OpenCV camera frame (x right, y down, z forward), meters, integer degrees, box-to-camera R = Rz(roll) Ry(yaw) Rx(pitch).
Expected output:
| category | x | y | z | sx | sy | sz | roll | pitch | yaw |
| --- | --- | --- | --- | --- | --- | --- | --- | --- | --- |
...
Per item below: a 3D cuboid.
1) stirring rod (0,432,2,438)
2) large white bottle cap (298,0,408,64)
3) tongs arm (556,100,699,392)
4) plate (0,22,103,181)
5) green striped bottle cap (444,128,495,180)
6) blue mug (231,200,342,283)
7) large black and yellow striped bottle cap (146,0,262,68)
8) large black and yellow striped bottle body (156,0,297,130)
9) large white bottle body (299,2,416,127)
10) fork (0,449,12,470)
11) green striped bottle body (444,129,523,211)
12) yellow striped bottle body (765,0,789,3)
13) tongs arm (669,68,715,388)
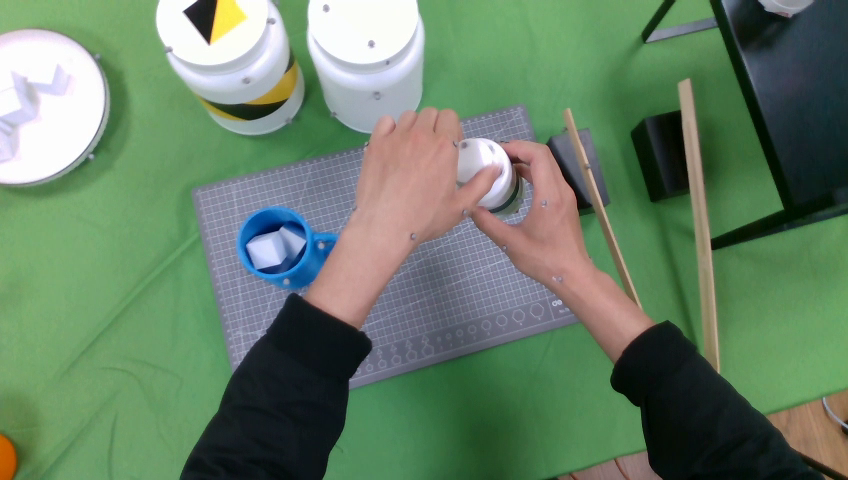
| category | x | y | z | sx | sy | sz | roll | pitch | yaw |
| --- | --- | --- | --- | --- | --- | --- | --- | --- | --- |
| stirring rod | -0.531 | 0.273 | 0.648 | 0.014 | 0.006 | 0.175 | 31 | 38 | 0 |
| large white bottle cap | -0.074 | -0.242 | 0.636 | 0.115 | 0.018 | 0.114 | 0 | 80 | -2 |
| tongs arm | 0.246 | 0.008 | 0.732 | 0.051 | 0.026 | 0.385 | -20 | 94 | -8 |
| plate | -0.511 | -0.173 | 0.771 | 0.208 | 0.039 | 0.207 | 0 | 81 | -2 |
| green striped bottle cap | 0.041 | -0.077 | 0.543 | 0.044 | 0.020 | 0.044 | -4 | 78 | 19 |
| blue mug | -0.156 | 0.002 | 0.718 | 0.116 | 0.106 | 0.082 | -9 | 80 | -3 |
| large black and yellow striped bottle cap | -0.229 | -0.236 | 0.632 | 0.115 | 0.019 | 0.114 | 1 | 81 | -3 |
| large black and yellow striped bottle body | -0.230 | -0.220 | 0.714 | 0.131 | 0.184 | 0.130 | 0 | 80 | -1 |
| large white bottle body | -0.075 | -0.226 | 0.720 | 0.131 | 0.185 | 0.130 | 0 | 80 | -2 |
| fork | -0.563 | 0.243 | 0.645 | 0.209 | 0.018 | 0.028 | 12 | 74 | -44 |
| green striped bottle body | 0.058 | -0.069 | 0.596 | 0.063 | 0.120 | 0.063 | -2 | 82 | 17 |
| yellow striped bottle body | 0.379 | -0.294 | 0.595 | 0.063 | 0.120 | 0.062 | 0 | 80 | -2 |
| tongs arm | 0.324 | -0.013 | 0.741 | 0.028 | 0.027 | 0.387 | -7 | 92 | -12 |
